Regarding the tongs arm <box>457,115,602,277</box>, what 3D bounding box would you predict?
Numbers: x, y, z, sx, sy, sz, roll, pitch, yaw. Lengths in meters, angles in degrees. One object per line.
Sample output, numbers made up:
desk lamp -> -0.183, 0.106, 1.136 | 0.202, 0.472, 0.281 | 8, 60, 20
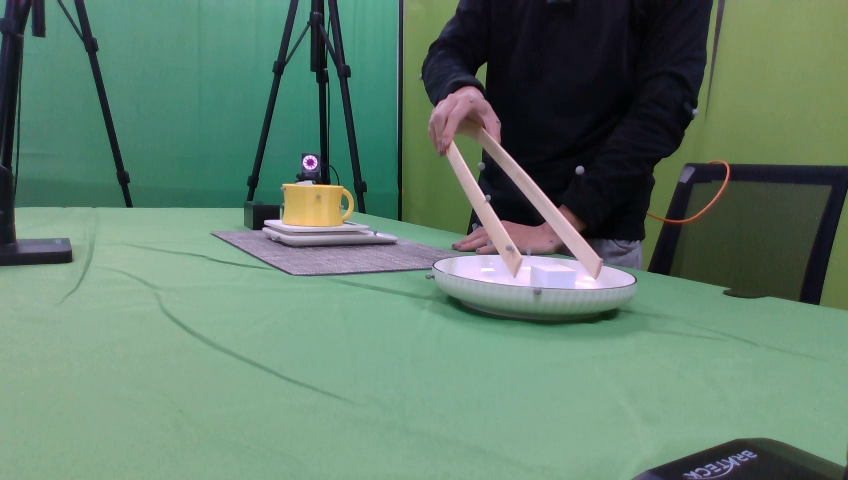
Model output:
tongs arm -> 0.119, -0.074, 0.761 | 0.028, 0.028, 0.386 | -6, 34, -16

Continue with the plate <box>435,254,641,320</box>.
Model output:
plate -> 0.114, 0.047, 0.626 | 0.208, 0.039, 0.207 | 2, 7, 0

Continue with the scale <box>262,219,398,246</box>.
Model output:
scale -> -0.160, -0.016, 1.028 | 0.202, 0.031, 0.148 | -1, 9, -31

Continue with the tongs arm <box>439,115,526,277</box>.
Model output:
tongs arm -> 0.071, -0.075, 0.747 | 0.051, 0.026, 0.383 | -1, 32, -15

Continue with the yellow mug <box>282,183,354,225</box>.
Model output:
yellow mug -> -0.172, -0.061, 1.009 | 0.131, 0.064, 0.099 | -2, 8, -41
